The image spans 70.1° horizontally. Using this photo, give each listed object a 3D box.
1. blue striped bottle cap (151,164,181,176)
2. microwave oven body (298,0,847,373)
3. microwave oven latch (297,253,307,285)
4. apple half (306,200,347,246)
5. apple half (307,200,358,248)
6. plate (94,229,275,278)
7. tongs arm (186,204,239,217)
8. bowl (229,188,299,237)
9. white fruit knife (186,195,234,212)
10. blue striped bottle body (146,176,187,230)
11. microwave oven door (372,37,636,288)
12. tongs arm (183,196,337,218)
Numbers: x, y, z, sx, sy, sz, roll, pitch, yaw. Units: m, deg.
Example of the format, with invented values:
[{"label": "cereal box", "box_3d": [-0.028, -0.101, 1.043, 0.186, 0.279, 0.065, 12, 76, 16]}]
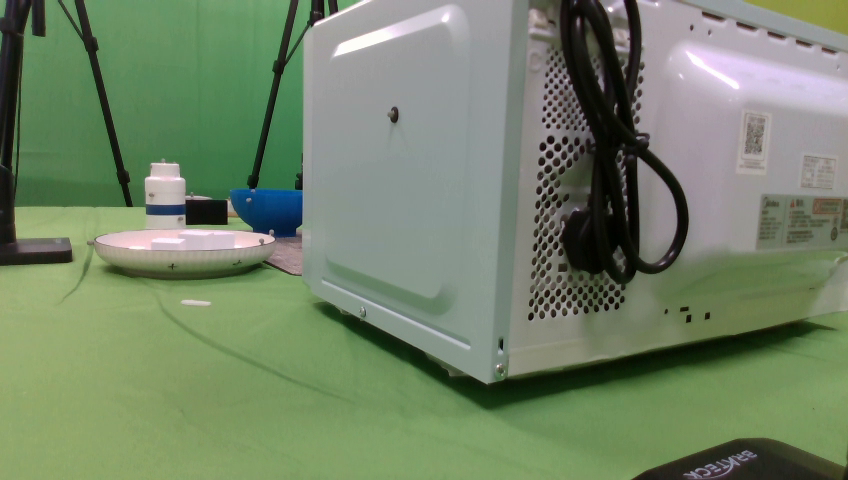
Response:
[{"label": "blue striped bottle cap", "box_3d": [-0.428, -0.116, 1.002, 0.044, 0.020, 0.044, 1, 6, 0]}, {"label": "microwave oven body", "box_3d": [0.151, -0.055, 0.543, 0.444, 0.260, 0.324, -1, 8, -33]}, {"label": "microwave oven latch", "box_3d": [-0.082, 0.027, 0.582, 0.079, 0.029, 0.030, -1, 8, -33]}, {"label": "apple half", "box_3d": [-0.162, -0.029, 0.965, 0.032, 0.081, 0.082, 13, 13, 43]}, {"label": "apple half", "box_3d": [-0.135, -0.023, 0.939, 0.053, 0.074, 0.081, 16, 11, 43]}, {"label": "plate", "box_3d": [-0.291, 0.016, 0.750, 0.208, 0.039, 0.207, 2, 7, 0]}, {"label": "tongs arm", "box_3d": [-0.396, -0.066, 1.399, 0.389, 0.028, 0.028, 1, 5, -15]}, {"label": "bowl", "box_3d": [-0.265, -0.048, 1.066, 0.151, 0.077, 0.151, 3, 8, 0]}, {"label": "white fruit knife", "box_3d": [-0.401, -0.072, 1.275, 0.208, 0.027, 0.016, 10, 0, -35]}, {"label": "blue striped bottle body", "box_3d": [-0.430, -0.065, 1.010, 0.063, 0.120, 0.063, 2, 7, 0]}, {"label": "microwave oven door", "box_3d": [0.109, -0.080, 0.686, 0.358, 0.243, 0.039, -2, 9, -33]}, {"label": "tongs arm", "box_3d": [-0.404, -0.081, 1.479, 0.385, 0.026, 0.050, 3, 8, -2]}]
